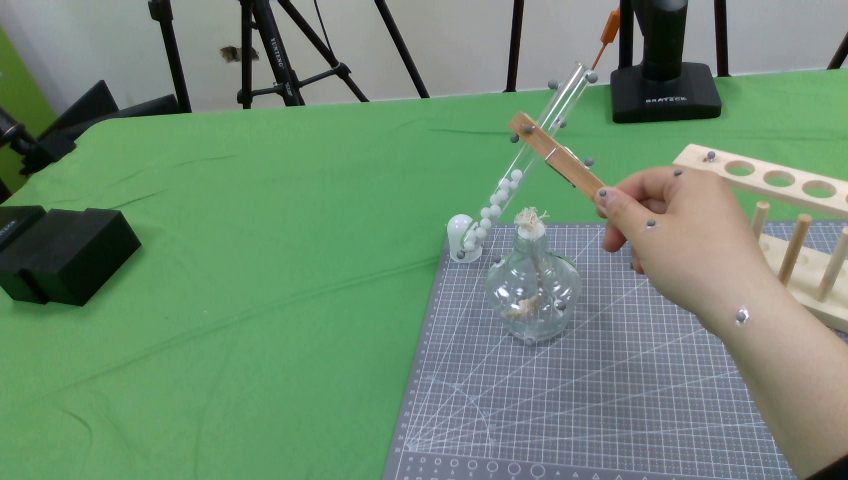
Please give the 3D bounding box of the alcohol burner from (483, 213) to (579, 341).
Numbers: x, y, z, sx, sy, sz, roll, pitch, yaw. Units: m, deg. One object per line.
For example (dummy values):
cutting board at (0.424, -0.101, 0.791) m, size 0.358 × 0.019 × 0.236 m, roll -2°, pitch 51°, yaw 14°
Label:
alcohol burner at (0.084, 0.024, 0.480) m, size 0.078 × 0.120 × 0.077 m, roll -6°, pitch 42°, yaw 6°

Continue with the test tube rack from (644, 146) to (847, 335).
test tube rack at (0.301, 0.008, 0.465) m, size 0.240 × 0.086 × 0.066 m, roll 25°, pitch 53°, yaw 36°

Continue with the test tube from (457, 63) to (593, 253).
test tube at (0.067, -0.053, 0.418) m, size 0.017 × 0.150 × 0.017 m, roll 29°, pitch 18°, yaw -10°

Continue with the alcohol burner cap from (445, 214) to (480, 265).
alcohol burner cap at (0.036, -0.004, 0.581) m, size 0.034 × 0.048 × 0.033 m, roll -6°, pitch 41°, yaw 6°

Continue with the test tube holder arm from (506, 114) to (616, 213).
test tube holder arm at (0.091, -0.051, 0.404) m, size 0.087 × 0.015 × 0.010 m, roll 43°, pitch 24°, yaw 8°

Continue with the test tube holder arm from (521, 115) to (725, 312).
test tube holder arm at (0.124, -0.021, 0.399) m, size 0.177 × 0.015 × 0.013 m, roll 46°, pitch 25°, yaw 15°
